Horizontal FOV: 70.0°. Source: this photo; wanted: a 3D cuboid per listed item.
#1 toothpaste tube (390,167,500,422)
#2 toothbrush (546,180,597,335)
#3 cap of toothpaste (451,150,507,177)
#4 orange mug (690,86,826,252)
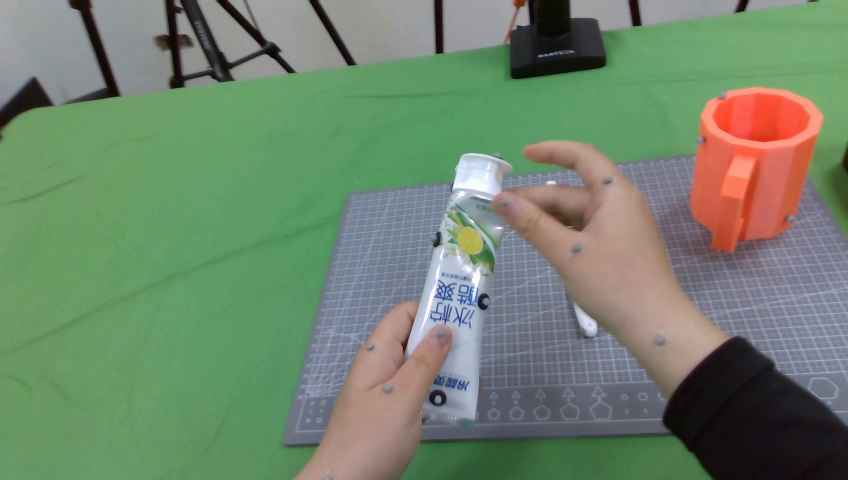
[{"bbox_3d":[0.019,0.027,0.383,0.055,0.035,0.164,8,81,13],"label":"toothpaste tube"},{"bbox_3d":[0.128,0.008,0.531,0.014,0.017,0.180,0,45,-2],"label":"toothbrush"},{"bbox_3d":[0.035,-0.048,0.393,0.037,0.037,0.011,10,82,25],"label":"cap of toothpaste"},{"bbox_3d":[0.265,-0.053,0.496,0.083,0.102,0.126,17,47,30],"label":"orange mug"}]
